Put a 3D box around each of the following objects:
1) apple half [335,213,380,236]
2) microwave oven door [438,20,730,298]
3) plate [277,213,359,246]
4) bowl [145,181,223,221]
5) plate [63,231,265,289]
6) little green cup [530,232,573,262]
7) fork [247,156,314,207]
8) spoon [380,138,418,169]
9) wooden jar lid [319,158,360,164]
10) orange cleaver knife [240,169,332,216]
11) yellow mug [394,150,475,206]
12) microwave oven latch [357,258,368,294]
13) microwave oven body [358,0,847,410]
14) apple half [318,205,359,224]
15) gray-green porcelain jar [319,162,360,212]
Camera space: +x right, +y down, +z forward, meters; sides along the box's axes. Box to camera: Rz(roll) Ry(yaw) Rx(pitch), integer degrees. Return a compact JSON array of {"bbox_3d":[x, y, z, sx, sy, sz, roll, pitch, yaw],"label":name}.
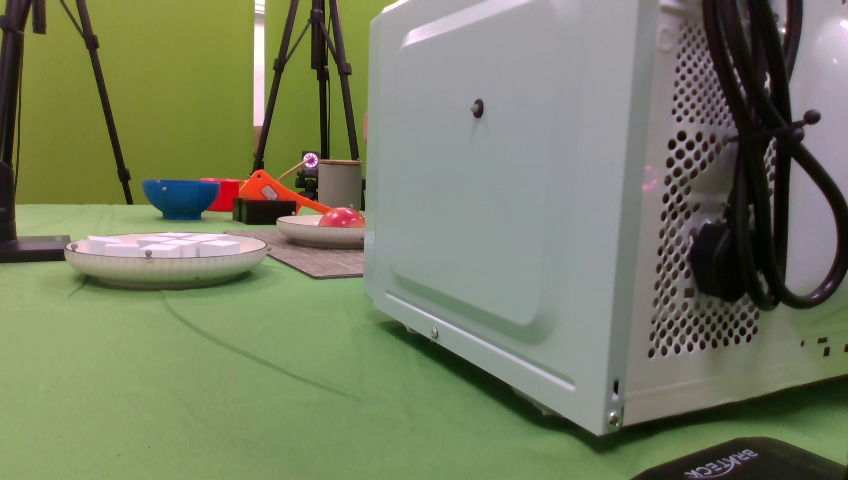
[{"bbox_3d":[-0.112,-0.029,1.034,0.081,0.033,0.081,0,10,0],"label":"apple half"},{"bbox_3d":[0.181,-0.076,0.618,0.358,0.243,0.039,-2,8,-28],"label":"microwave oven door"},{"bbox_3d":[-0.135,-0.018,0.993,0.209,0.038,0.209,2,7,0],"label":"plate"},{"bbox_3d":[-0.499,-0.081,1.261,0.151,0.077,0.151,2,7,0],"label":"bowl"},{"bbox_3d":[-0.288,0.021,0.687,0.208,0.039,0.207,2,8,0],"label":"plate"},{"bbox_3d":[0.184,0.010,0.879,0.061,0.038,0.061,2,5,0],"label":"little green cup"},{"bbox_3d":[-0.360,-0.147,1.523,0.207,0.019,0.028,-43,16,-7],"label":"fork"},{"bbox_3d":[-0.049,-0.153,1.040,0.042,0.021,0.193,12,21,-21],"label":"spoon"},{"bbox_3d":[-0.203,-0.189,1.482,0.108,0.020,0.108,2,10,0],"label":"wooden jar lid"},{"bbox_3d":[-0.286,-0.082,1.298,0.212,0.077,0.012,25,-2,-31],"label":"orange cleaver knife"},{"bbox_3d":[0.019,-0.102,0.965,0.130,0.064,0.100,-13,-9,22],"label":"yellow mug"},{"bbox_3d":[-0.019,0.031,0.529,0.079,0.029,0.030,-1,7,-27],"label":"microwave oven latch"},{"bbox_3d":[0.210,-0.051,0.471,0.444,0.260,0.324,-1,7,-28],"label":"microwave oven body"},{"bbox_3d":[-0.126,-0.028,0.954,0.081,0.053,0.074,-2,10,-33],"label":"apple half"},{"bbox_3d":[-0.204,-0.126,1.489,0.106,0.126,0.106,2,7,0],"label":"gray-green porcelain jar"}]
